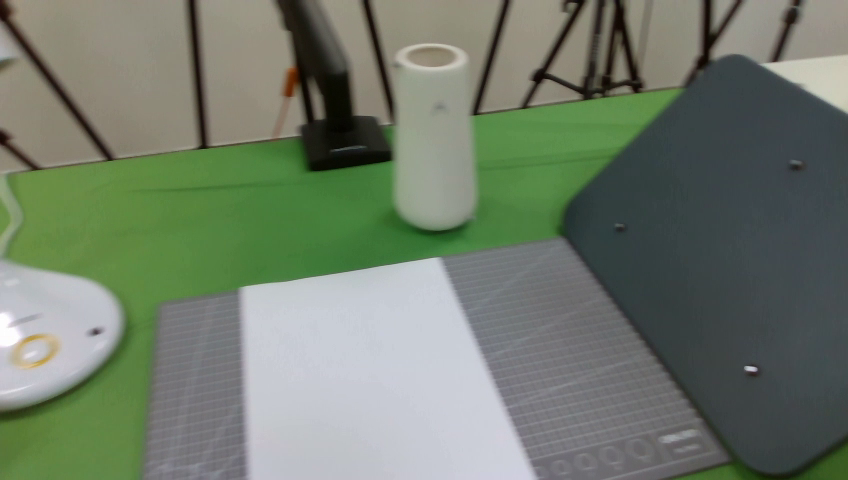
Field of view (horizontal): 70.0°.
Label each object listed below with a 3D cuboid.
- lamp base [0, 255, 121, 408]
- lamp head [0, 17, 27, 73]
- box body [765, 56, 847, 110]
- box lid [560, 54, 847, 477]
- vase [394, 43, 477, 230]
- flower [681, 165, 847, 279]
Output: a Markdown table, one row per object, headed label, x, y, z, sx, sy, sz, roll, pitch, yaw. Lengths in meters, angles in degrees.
| label | x | y | z | sx | sy | sz | roll | pitch | yaw |
| --- | --- | --- | --- | --- | --- | --- | --- | --- | --- |
| lamp base | -0.377 | 0.024 | 0.519 | 0.177 | 0.182 | 0.160 | 29 | 47 | 35 |
| lamp head | -0.302 | -0.127 | 0.319 | 0.112 | 0.124 | 0.111 | -26 | 20 | 10 |
| box body | 0.465 | -0.038 | 0.615 | 0.255 | 0.162 | 0.360 | -9 | 39 | -11 |
| box lid | 0.291 | -0.006 | 0.549 | 0.015 | 0.263 | 0.367 | 31 | 22 | -35 |
| vase | 0.012 | -0.110 | 0.676 | 0.098 | 0.202 | 0.097 | -1 | 38 | 1 |
| flower | 0.430 | 0.022 | 0.653 | 0.044 | 0.038 | 0.358 | 13 | 27 | -50 |
